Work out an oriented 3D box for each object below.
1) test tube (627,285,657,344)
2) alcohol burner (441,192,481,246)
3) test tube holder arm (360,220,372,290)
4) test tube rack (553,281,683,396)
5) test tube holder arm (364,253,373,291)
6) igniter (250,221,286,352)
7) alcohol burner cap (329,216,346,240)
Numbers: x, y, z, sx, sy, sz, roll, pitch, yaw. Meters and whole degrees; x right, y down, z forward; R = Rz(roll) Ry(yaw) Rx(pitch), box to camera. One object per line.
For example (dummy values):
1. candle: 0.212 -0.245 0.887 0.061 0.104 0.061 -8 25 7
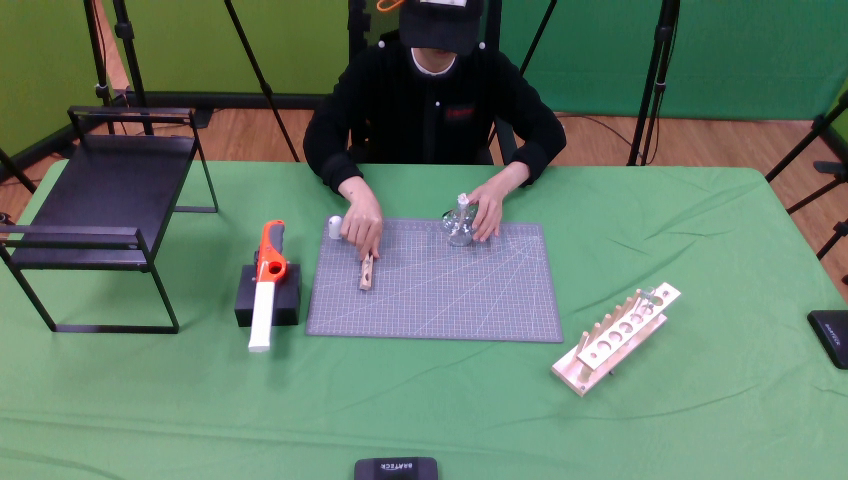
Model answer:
1. test tube: 0.350 0.124 0.983 0.017 0.151 0.017 0 49 0
2. alcohol burner: 0.073 -0.046 1.176 0.078 0.119 0.077 2 44 -2
3. test tube holder arm: -0.110 0.024 1.161 0.013 0.015 0.177 25 39 -25
4. test tube rack: 0.329 0.153 1.023 0.242 0.085 0.066 -30 54 -28
5. test tube holder arm: -0.104 0.058 1.132 0.010 0.015 0.087 26 38 -24
6. igniter: -0.269 0.068 1.042 0.057 0.025 0.274 0 48 -7
7. alcohol burner cap: -0.171 -0.026 1.190 0.034 0.048 0.033 2 46 -1
